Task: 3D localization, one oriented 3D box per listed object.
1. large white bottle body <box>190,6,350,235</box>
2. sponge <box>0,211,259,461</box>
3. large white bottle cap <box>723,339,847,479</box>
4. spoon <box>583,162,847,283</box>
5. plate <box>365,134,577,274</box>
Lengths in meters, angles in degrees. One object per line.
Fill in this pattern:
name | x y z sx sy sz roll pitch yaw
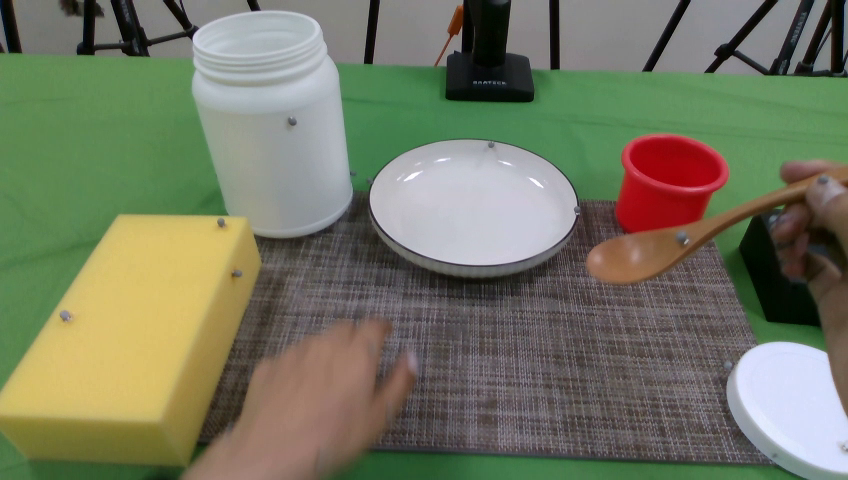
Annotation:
large white bottle body | -0.144 -0.113 0.578 0.130 0.186 0.129 0 40 1
sponge | -0.217 0.064 0.478 0.118 0.061 0.205 0 42 2
large white bottle cap | 0.286 0.124 0.455 0.115 0.018 0.113 2 43 -2
spoon | 0.173 -0.016 0.316 0.193 0.022 0.041 -26 28 36
plate | 0.046 -0.035 0.607 0.209 0.038 0.207 1 42 -1
